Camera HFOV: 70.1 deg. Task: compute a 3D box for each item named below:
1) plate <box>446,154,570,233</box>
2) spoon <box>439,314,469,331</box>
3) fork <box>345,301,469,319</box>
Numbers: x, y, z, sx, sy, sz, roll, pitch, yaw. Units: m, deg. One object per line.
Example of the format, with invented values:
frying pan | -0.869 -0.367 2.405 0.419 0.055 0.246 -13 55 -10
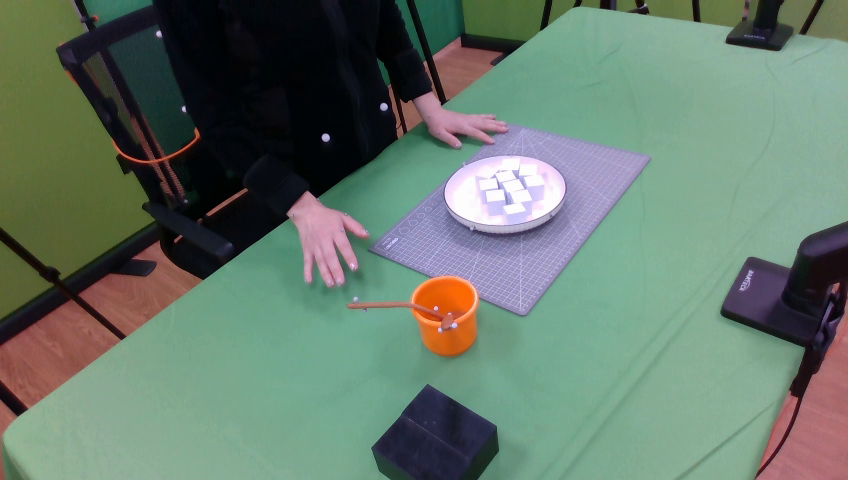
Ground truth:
plate | 0.142 -0.076 1.032 0.207 0.039 0.206 -5 40 5
spoon | 0.033 0.101 0.760 0.041 0.194 0.021 0 83 7
fork | -0.017 0.090 0.776 0.209 0.018 0.028 14 -1 -44
